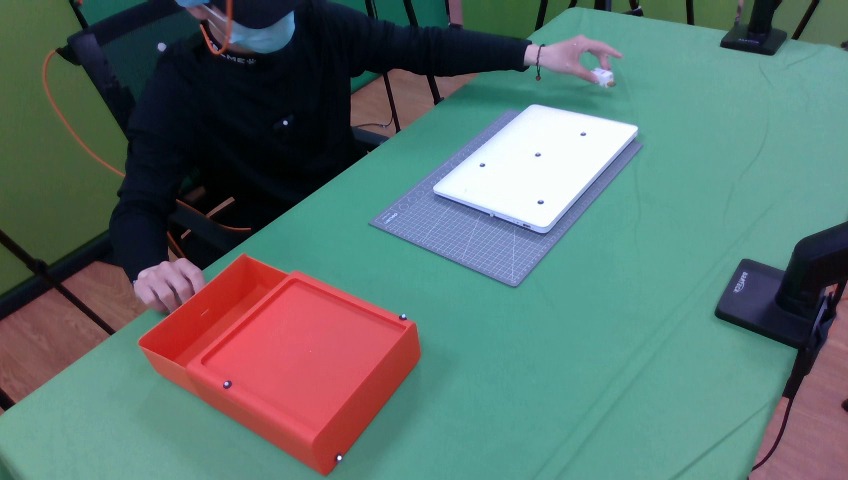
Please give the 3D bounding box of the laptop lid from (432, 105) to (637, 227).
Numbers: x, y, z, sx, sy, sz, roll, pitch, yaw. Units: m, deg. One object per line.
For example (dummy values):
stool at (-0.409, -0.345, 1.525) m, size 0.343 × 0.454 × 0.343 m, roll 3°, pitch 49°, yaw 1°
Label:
laptop lid at (0.207, -0.152, 1.105) m, size 0.239 × 0.013 × 0.358 m, roll 23°, pitch 49°, yaw 34°

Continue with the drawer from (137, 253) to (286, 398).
drawer at (-0.231, 0.128, 0.812) m, size 0.210 × 0.073 × 0.195 m, roll 19°, pitch 46°, yaw 27°

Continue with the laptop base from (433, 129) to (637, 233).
laptop base at (0.210, -0.142, 1.111) m, size 0.233 × 0.023 × 0.355 m, roll 21°, pitch 47°, yaw 33°

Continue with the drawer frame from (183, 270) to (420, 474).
drawer frame at (-0.149, 0.153, 0.767) m, size 0.212 × 0.083 × 0.202 m, roll 20°, pitch 46°, yaw 27°

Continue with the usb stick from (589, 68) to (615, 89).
usb stick at (0.365, -0.328, 1.234) m, size 0.021 × 0.027 × 0.058 m, roll -33°, pitch 48°, yaw -13°
